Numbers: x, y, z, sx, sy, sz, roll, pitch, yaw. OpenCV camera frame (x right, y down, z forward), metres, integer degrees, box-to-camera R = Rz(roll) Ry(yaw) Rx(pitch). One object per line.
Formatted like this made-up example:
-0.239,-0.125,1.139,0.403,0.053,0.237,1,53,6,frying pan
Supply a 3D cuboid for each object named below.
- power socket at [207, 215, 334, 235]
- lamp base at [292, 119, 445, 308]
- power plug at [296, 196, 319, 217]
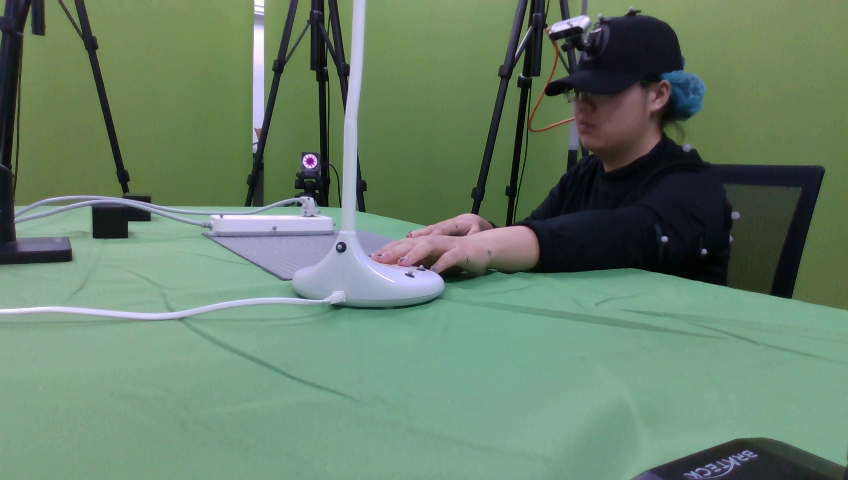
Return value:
-0.270,-0.028,1.082,0.228,0.032,0.072,-2,7,-30,power socket
-0.056,-0.030,0.616,0.160,0.180,0.179,3,10,8,lamp base
-0.219,-0.056,1.142,0.035,0.052,0.072,0,7,-19,power plug
